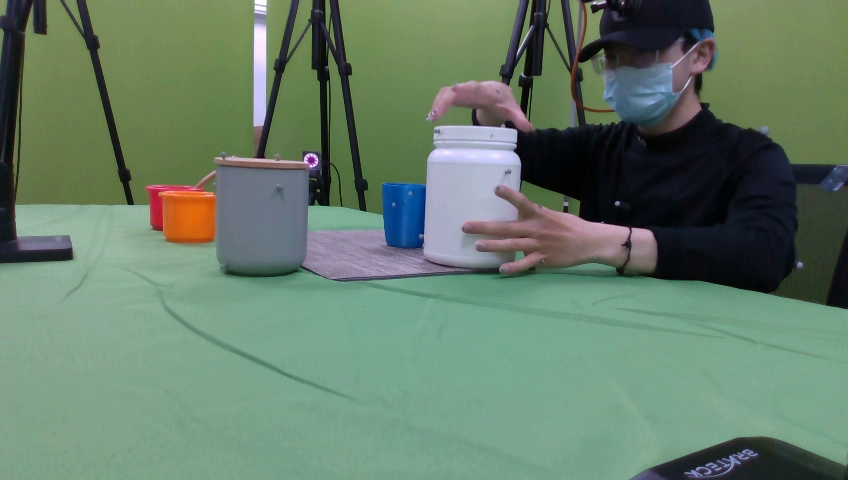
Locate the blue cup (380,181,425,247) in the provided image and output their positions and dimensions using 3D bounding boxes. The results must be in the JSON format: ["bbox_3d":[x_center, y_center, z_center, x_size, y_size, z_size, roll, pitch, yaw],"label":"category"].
[{"bbox_3d":[-0.028,-0.042,0.979,0.093,0.100,0.092,2,9,0],"label":"blue cup"}]

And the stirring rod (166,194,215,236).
[{"bbox_3d":[-0.341,-0.066,0.967,0.176,0.006,0.014,-42,23,-9],"label":"stirring rod"}]

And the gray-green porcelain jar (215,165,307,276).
[{"bbox_3d":[-0.195,-0.024,0.726,0.106,0.126,0.106,3,7,0],"label":"gray-green porcelain jar"}]

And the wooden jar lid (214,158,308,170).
[{"bbox_3d":[-0.193,-0.085,0.719,0.108,0.020,0.108,2,9,0],"label":"wooden jar lid"}]

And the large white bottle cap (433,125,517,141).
[{"bbox_3d":[0.069,-0.144,0.825,0.115,0.018,0.115,2,8,0],"label":"large white bottle cap"}]

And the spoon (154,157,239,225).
[{"bbox_3d":[-0.411,-0.092,1.105,0.041,0.022,0.194,13,56,51],"label":"spoon"}]

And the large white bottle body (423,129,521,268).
[{"bbox_3d":[0.066,-0.061,0.837,0.131,0.184,0.130,2,8,0],"label":"large white bottle body"}]
